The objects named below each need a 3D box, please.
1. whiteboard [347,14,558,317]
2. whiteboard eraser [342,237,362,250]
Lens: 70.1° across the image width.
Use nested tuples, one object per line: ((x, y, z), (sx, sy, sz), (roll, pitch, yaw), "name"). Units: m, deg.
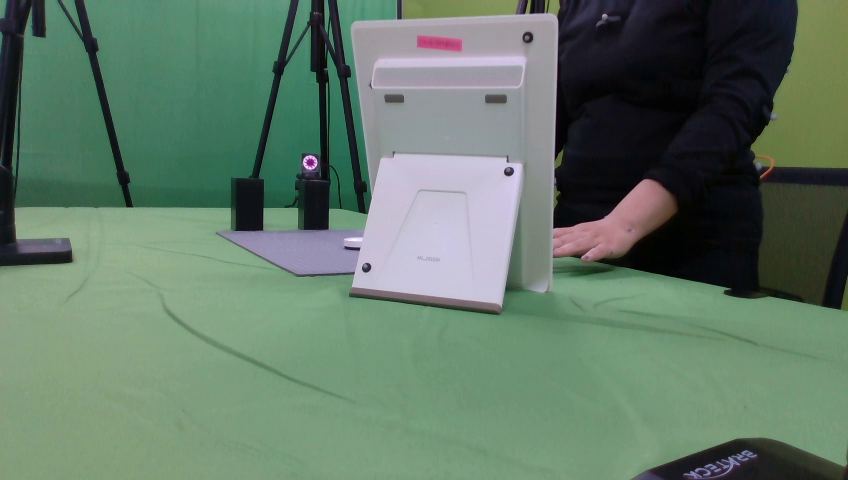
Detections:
((0.012, -0.056, 0.609), (0.216, 0.305, 0.144), (5, 27, 20), "whiteboard")
((-0.082, 0.004, 0.968), (0.102, 0.019, 0.041), (-1, 7, -31), "whiteboard eraser")
